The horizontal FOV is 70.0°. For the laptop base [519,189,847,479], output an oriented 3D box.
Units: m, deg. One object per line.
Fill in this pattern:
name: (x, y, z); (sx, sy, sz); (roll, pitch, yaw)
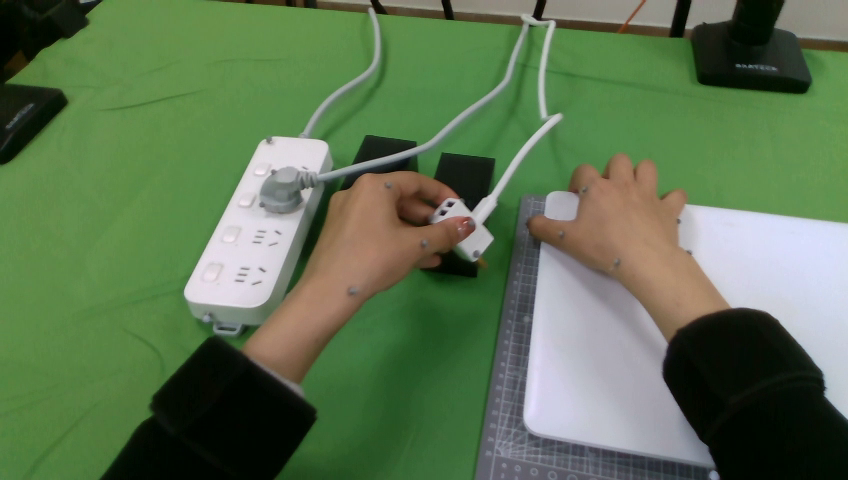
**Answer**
laptop base: (0.260, 0.069, 0.466); (0.354, 0.023, 0.233); (8, 53, 8)

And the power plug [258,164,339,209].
power plug: (-0.111, -0.039, 0.531); (0.072, 0.053, 0.035); (14, 51, 14)

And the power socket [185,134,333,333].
power socket: (-0.141, -0.019, 0.546); (0.072, 0.033, 0.225); (7, 49, 6)

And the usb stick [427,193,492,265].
usb stick: (0.031, -0.006, 0.459); (0.027, 0.059, 0.021); (-47, 27, -14)

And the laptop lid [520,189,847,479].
laptop lid: (0.258, 0.063, 0.455); (0.356, 0.013, 0.240); (9, 52, 10)
